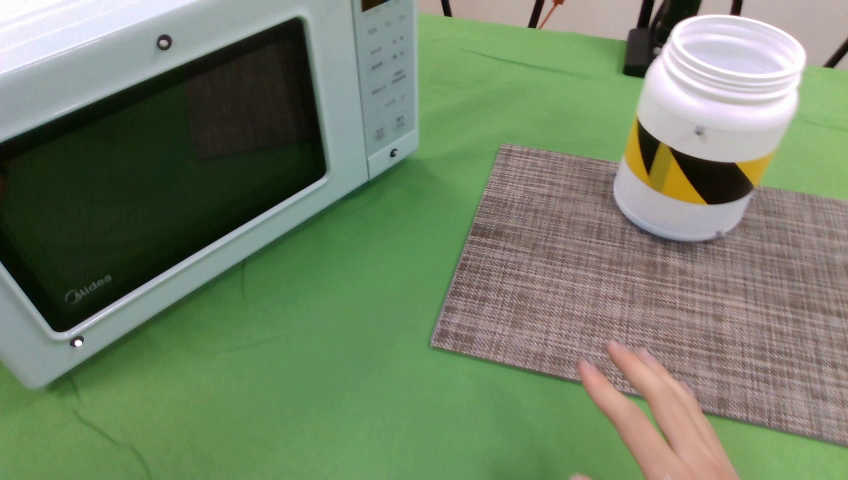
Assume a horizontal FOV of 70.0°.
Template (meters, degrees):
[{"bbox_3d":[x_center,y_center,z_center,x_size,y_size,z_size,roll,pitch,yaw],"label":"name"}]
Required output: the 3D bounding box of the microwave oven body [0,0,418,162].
[{"bbox_3d":[-0.271,-0.149,0.576,0.323,0.262,0.441,35,56,28],"label":"microwave oven body"}]

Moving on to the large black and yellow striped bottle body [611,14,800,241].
[{"bbox_3d":[0.263,-0.104,0.579,0.131,0.185,0.129,0,46,1],"label":"large black and yellow striped bottle body"}]

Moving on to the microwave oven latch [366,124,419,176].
[{"bbox_3d":[-0.040,-0.103,0.664,0.079,0.030,0.030,-36,56,-28],"label":"microwave oven latch"}]

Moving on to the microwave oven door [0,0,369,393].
[{"bbox_3d":[-0.195,-0.060,0.481,0.039,0.246,0.355,34,55,29],"label":"microwave oven door"}]
